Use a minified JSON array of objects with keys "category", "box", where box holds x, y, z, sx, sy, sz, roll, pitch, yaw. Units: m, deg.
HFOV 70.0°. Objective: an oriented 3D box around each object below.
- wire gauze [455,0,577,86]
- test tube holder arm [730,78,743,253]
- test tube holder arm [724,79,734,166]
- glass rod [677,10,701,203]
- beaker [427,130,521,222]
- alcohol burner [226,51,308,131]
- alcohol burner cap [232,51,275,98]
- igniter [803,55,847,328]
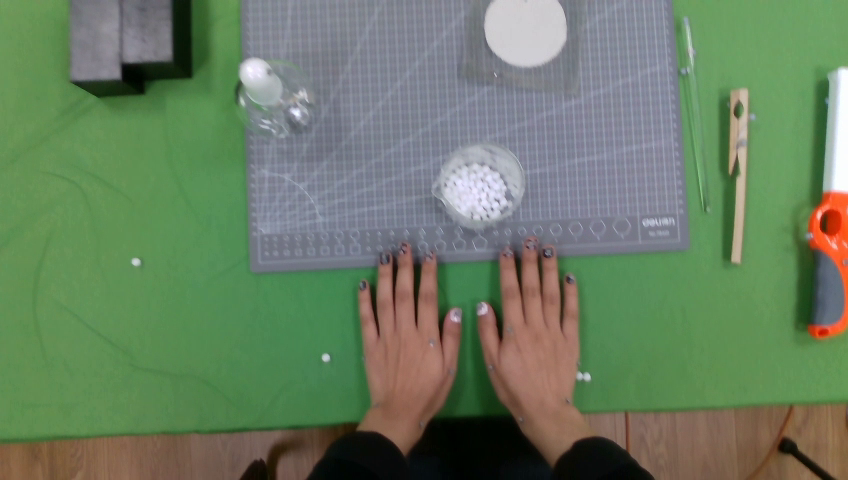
[{"category":"wire gauze","box":[0.098,-0.228,0.626,0.125,0.011,0.121,8,89,-1]},{"category":"test tube holder arm","box":[0.318,-0.075,0.618,0.013,0.015,0.178,-1,88,35]},{"category":"test tube holder arm","box":[0.314,-0.120,0.622,0.010,0.015,0.087,-1,88,35]},{"category":"glass rod","box":[0.274,-0.138,0.626,0.008,0.008,0.199,-6,90,-1]},{"category":"beaker","box":[0.044,-0.055,0.574,0.084,0.100,0.074,-11,87,0]},{"category":"alcohol burner","box":[-0.152,-0.145,0.568,0.078,0.119,0.078,0,87,2]},{"category":"alcohol burner cap","box":[-0.152,-0.148,0.532,0.034,0.048,0.034,0,83,-4]},{"category":"igniter","box":[0.413,-0.048,0.614,0.057,0.025,0.276,5,88,-10]}]
